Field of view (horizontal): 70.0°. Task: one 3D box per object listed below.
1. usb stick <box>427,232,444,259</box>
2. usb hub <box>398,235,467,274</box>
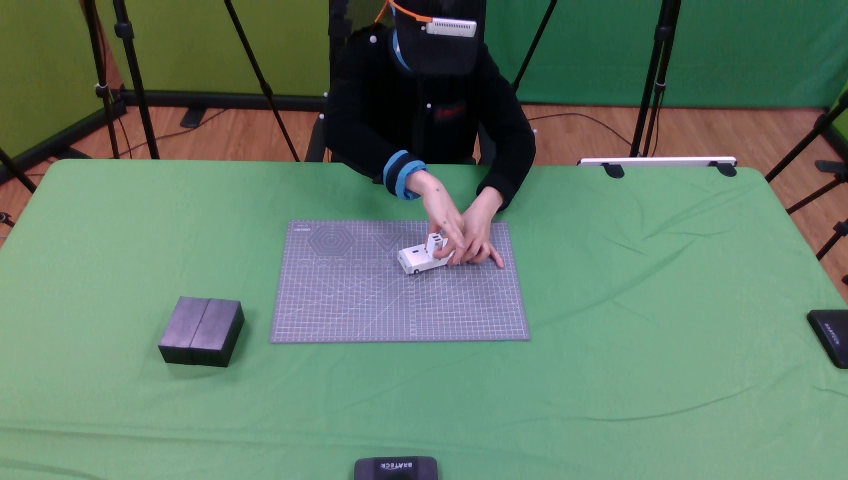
[{"bbox_3d":[0.020,0.015,1.127,0.021,0.059,0.027,-16,49,-23],"label":"usb stick"},{"bbox_3d":[0.016,0.027,1.160,0.125,0.025,0.049,-15,48,-19],"label":"usb hub"}]
